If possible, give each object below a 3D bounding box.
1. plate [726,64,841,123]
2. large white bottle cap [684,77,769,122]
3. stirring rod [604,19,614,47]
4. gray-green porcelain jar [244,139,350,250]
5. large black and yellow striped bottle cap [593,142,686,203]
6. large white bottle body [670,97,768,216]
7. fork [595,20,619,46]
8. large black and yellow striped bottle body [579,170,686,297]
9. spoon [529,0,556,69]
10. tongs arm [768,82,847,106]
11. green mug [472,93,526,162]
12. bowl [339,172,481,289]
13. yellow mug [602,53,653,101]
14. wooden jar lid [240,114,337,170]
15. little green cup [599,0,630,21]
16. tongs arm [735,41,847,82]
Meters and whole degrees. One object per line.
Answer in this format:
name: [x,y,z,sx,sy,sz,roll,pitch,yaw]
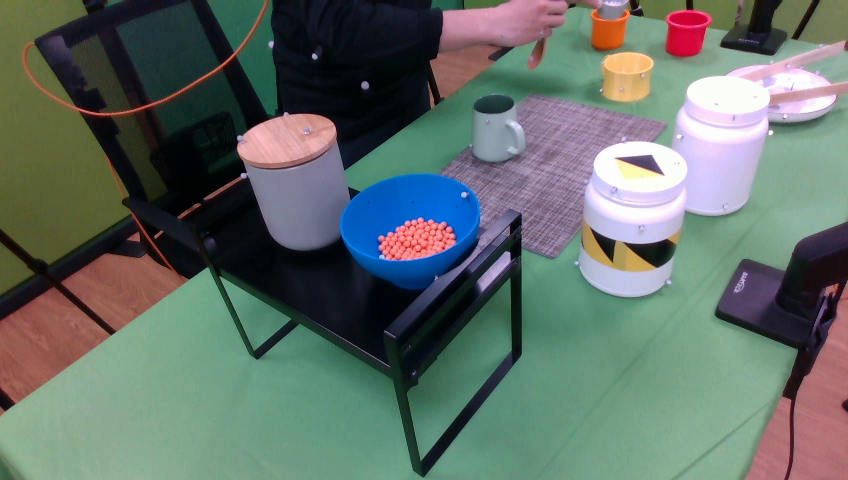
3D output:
plate: [0.695,-0.282,1.189,0.207,0.039,0.206,-4,40,4]
large white bottle cap: [0.448,-0.210,0.898,0.115,0.018,0.114,-4,40,4]
stirring rod: [0.439,-0.552,1.463,0.014,0.006,0.175,-7,83,4]
gray-green porcelain jar: [-0.144,-0.060,0.714,0.106,0.127,0.105,-4,41,4]
large black and yellow striped bottle cap: [0.280,-0.090,0.786,0.115,0.019,0.114,-5,41,5]
large white bottle body: [0.458,-0.146,0.952,0.130,0.185,0.130,-4,40,4]
fork: [0.480,-0.556,1.452,0.028,0.019,0.207,40,103,37]
large black and yellow striped bottle body: [0.287,-0.027,0.841,0.131,0.185,0.130,-4,40,4]
spoon: [0.214,-0.382,1.031,0.022,0.194,0.041,2,43,-10]
tongs arm: [0.738,-0.282,1.134,0.388,0.028,0.028,-9,46,-5]
green mug: [0.144,-0.202,1.122,0.093,0.105,0.124,-29,45,-23]
bowl: [-0.011,0.001,0.660,0.151,0.077,0.150,-5,41,5]
yellow mug: [0.423,-0.354,1.292,0.100,0.064,0.129,-23,42,-16]
wooden jar lid: [-0.149,-0.106,0.673,0.108,0.021,0.108,-6,39,5]
little green cup: [0.386,-0.479,1.233,0.061,0.039,0.061,-2,57,3]
tongs arm: [0.712,-0.332,1.194,0.386,0.026,0.050,-18,44,-16]
